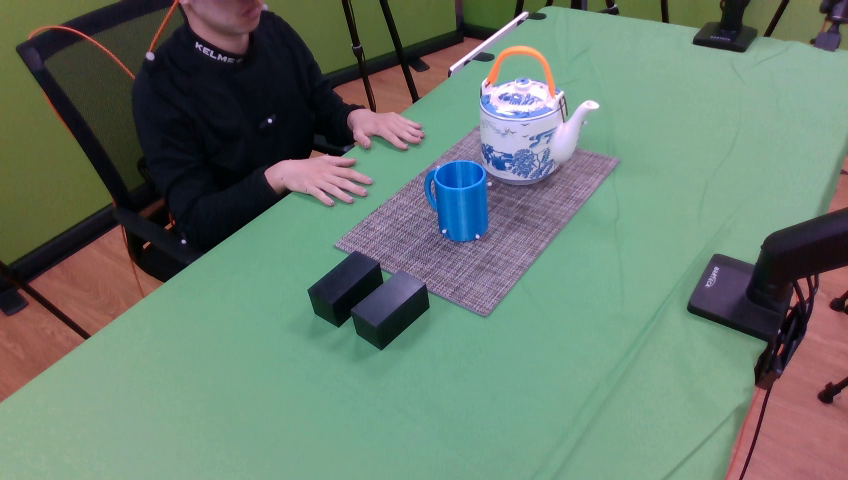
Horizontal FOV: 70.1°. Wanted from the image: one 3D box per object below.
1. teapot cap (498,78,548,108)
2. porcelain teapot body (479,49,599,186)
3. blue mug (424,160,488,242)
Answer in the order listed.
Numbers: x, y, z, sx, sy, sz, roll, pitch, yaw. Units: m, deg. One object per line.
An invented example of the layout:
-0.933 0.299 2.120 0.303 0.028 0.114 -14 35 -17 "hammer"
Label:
0.165 -0.246 1.010 0.085 0.044 0.084 -4 44 5 "teapot cap"
0.192 -0.208 1.023 0.204 0.226 0.145 16 46 25 "porcelain teapot body"
0.047 -0.067 0.970 0.115 0.106 0.082 22 49 30 "blue mug"
